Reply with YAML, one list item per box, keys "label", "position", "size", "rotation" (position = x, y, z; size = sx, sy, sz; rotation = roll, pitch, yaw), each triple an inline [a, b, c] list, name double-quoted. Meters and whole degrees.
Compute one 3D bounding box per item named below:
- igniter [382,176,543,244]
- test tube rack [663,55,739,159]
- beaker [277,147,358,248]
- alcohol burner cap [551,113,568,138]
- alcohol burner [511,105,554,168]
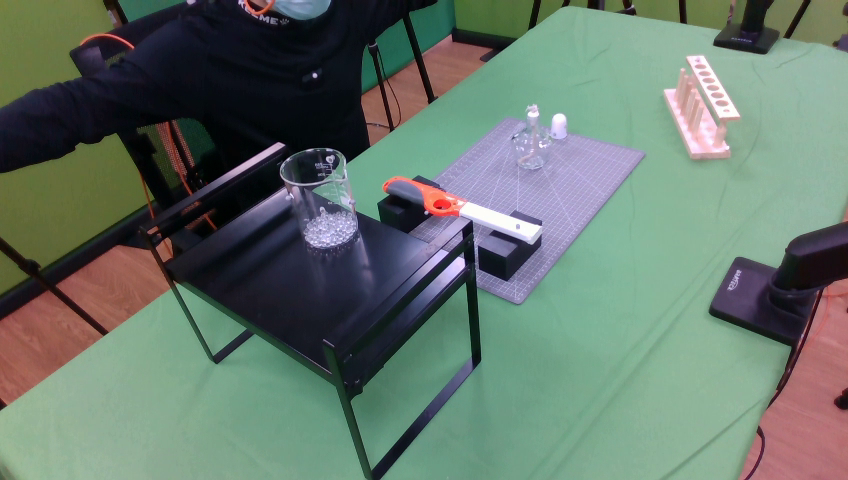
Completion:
- label: "igniter"
  position: [0.052, -0.052, 0.941]
  size: [0.274, 0.025, 0.057]
  rotation: [22, 47, 27]
- label: "test tube rack"
  position: [0.518, -0.256, 1.144]
  size: [0.066, 0.085, 0.241]
  rotation: [-1, 41, 8]
- label: "beaker"
  position: [-0.117, -0.046, 0.705]
  size: [0.083, 0.101, 0.074]
  rotation: [17, 47, 25]
- label: "alcohol burner cap"
  position: [0.263, -0.223, 1.172]
  size: [0.034, 0.048, 0.033]
  rotation: [-5, 39, 4]
- label: "alcohol burner"
  position: [0.196, -0.190, 1.088]
  size: [0.078, 0.119, 0.077]
  rotation: [-3, 42, 3]
